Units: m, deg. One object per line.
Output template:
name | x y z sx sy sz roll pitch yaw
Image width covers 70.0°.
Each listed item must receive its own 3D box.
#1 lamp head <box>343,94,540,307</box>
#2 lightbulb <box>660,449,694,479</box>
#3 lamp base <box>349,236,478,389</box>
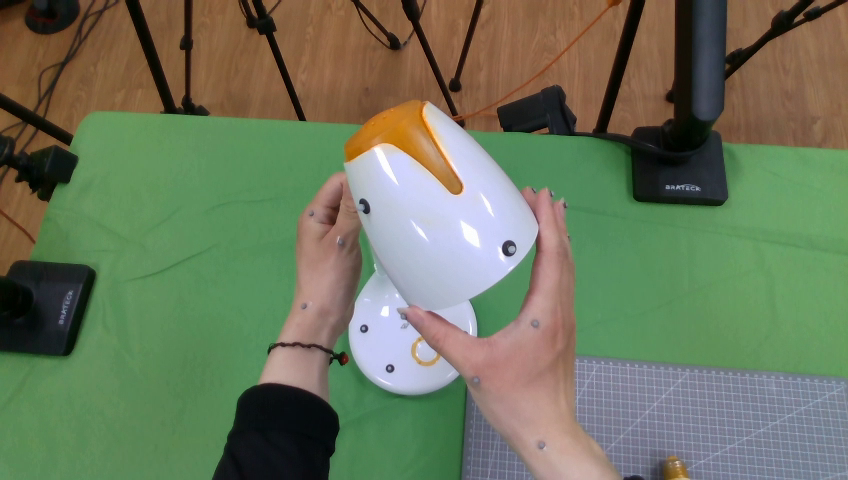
lamp head | 0.001 -0.035 0.408 0.112 0.112 0.123 -41 107 -13
lightbulb | 0.279 0.279 0.653 0.059 0.060 0.106 -2 52 3
lamp base | -0.025 0.066 0.685 0.160 0.181 0.177 -35 67 -11
